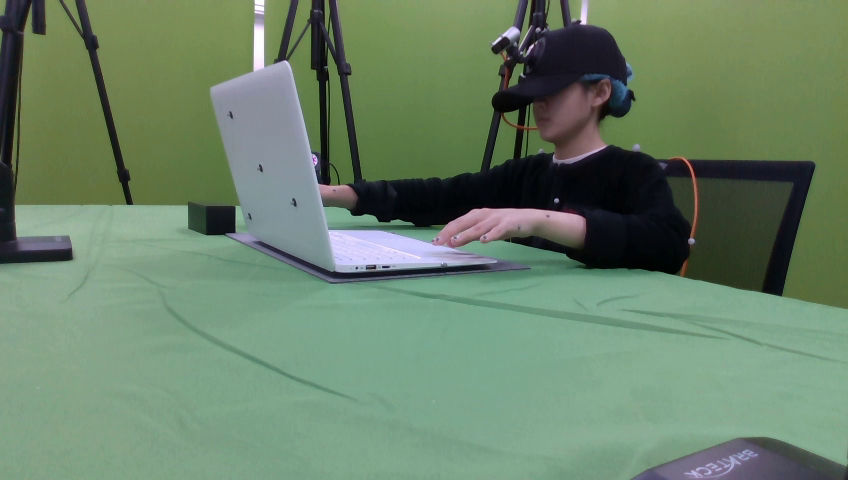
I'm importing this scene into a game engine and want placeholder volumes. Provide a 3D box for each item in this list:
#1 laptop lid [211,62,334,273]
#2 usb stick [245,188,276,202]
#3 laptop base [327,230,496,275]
[{"bbox_3d":[-0.211,-0.095,0.791,0.013,0.241,0.355,-18,18,-29],"label":"laptop lid"},{"bbox_3d":[-0.317,-0.087,1.170,0.021,0.027,0.059,18,18,42],"label":"usb stick"},{"bbox_3d":[-0.091,0.015,0.884,0.237,0.023,0.352,3,6,-32],"label":"laptop base"}]
